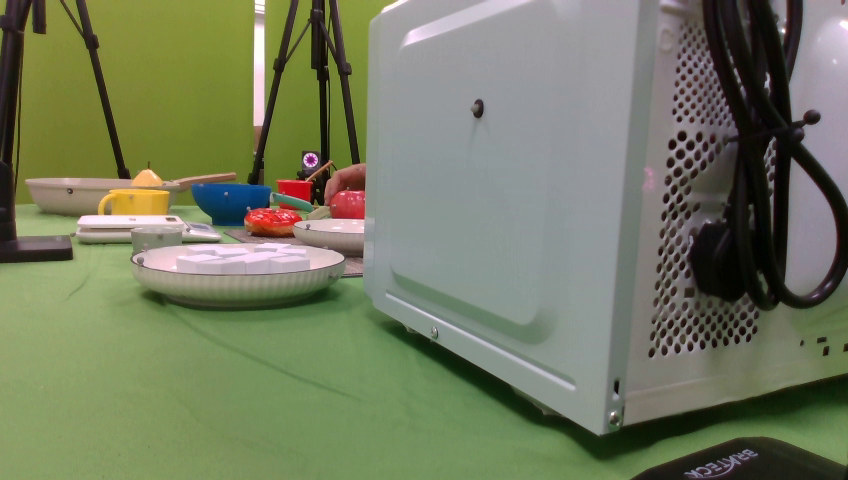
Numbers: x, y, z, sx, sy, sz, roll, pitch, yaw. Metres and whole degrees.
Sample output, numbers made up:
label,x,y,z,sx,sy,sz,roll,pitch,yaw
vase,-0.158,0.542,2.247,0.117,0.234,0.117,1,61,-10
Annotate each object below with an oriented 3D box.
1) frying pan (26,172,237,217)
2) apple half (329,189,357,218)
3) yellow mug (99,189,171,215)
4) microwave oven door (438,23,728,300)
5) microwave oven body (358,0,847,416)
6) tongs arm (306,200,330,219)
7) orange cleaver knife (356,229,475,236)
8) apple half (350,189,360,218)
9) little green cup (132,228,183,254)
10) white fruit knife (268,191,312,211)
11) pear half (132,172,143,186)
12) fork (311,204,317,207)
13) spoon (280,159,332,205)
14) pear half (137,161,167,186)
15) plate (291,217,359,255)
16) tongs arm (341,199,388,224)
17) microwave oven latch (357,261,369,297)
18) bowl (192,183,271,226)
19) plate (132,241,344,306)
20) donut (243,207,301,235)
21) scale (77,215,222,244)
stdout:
label,x,y,z,sx,sy,sz,roll,pitch,yaw
frying pan,-0.624,-0.118,1.387,0.305,0.102,0.490,8,17,32
apple half,-0.152,-0.060,1.142,0.053,0.074,0.081,-3,11,12
yellow mug,-0.519,-0.055,1.080,0.099,0.064,0.131,7,9,26
microwave oven door,0.181,-0.073,0.621,0.358,0.243,0.039,-2,8,-29
microwave oven body,0.211,-0.047,0.474,0.444,0.260,0.324,-1,7,-28
tongs arm,-0.234,-0.072,1.414,0.028,0.028,0.387,-3,7,0
orange cleaver knife,-0.017,-0.014,1.081,0.211,0.012,0.077,0,2,-3
apple half,-0.113,-0.060,1.135,0.033,0.081,0.081,-3,6,12
little green cup,-0.342,0.006,0.779,0.061,0.038,0.061,2,8,0
white fruit knife,-0.364,-0.105,1.464,0.208,0.027,0.016,15,0,-34
pear half,-0.638,-0.113,1.361,0.031,0.088,0.070,5,10,4
fork,-0.356,-0.105,1.526,0.208,0.018,0.028,16,-6,-41
spoon,-0.316,-0.159,1.640,0.194,0.022,0.041,-50,32,-20
pear half,-0.602,-0.120,1.354,0.056,0.110,0.076,4,11,6
plate,-0.098,-0.007,0.928,0.209,0.038,0.209,2,8,0
tongs arm,-0.148,-0.071,1.429,0.051,0.026,0.383,-2,8,-15
microwave oven latch,-0.019,0.033,0.530,0.079,0.029,0.030,-1,7,-27
bowl,-0.382,-0.071,1.202,0.151,0.077,0.151,3,7,0
plate,-0.187,0.033,0.625,0.208,0.039,0.207,2,7,0
donut,-0.261,-0.032,1.043,0.099,0.048,0.099,4,9,0
scale,-0.434,-0.019,0.963,0.202,0.031,0.148,-1,9,-27
